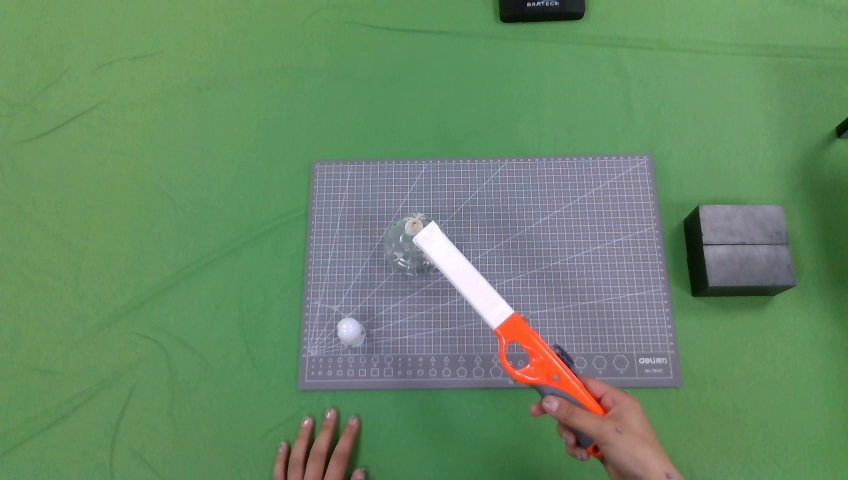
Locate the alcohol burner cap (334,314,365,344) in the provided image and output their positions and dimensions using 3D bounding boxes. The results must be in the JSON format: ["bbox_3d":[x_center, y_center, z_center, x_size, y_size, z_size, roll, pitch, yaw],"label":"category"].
[{"bbox_3d":[-0.089,0.104,0.715,0.034,0.048,0.033,-1,73,4],"label":"alcohol burner cap"}]

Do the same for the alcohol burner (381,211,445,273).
[{"bbox_3d":[-0.012,-0.003,0.710,0.078,0.120,0.077,0,71,-1],"label":"alcohol burner"}]

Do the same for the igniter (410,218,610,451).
[{"bbox_3d":[0.084,0.088,0.601,0.057,0.025,0.275,-41,76,-1],"label":"igniter"}]
